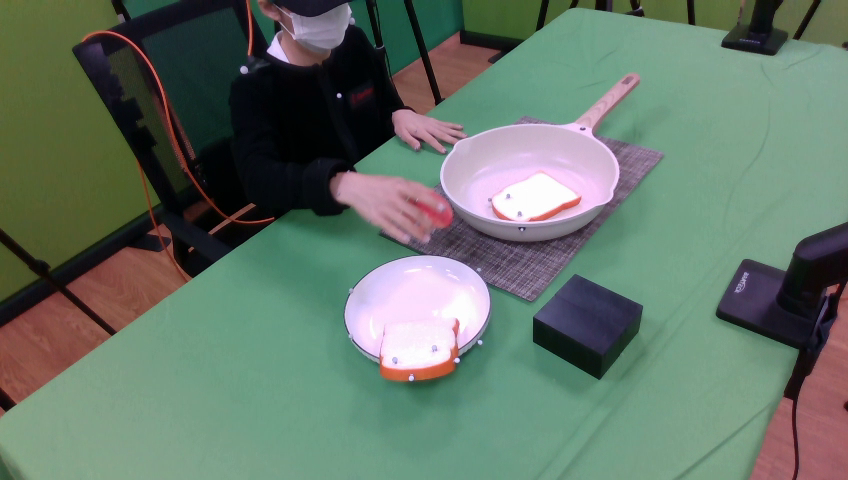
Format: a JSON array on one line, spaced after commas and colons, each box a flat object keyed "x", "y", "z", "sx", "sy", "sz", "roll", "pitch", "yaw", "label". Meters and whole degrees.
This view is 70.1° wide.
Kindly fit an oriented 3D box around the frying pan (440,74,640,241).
[{"x": 0.245, "y": -0.161, "z": 1.059, "sx": 0.304, "sy": 0.103, "sz": 0.489, "roll": 30, "pitch": 61, "yaw": 35, "label": "frying pan"}]

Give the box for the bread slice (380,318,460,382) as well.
[{"x": -0.005, "y": 0.137, "z": 0.770, "sx": 0.105, "sy": 0.019, "sz": 0.131, "roll": -6, "pitch": 19, "yaw": 4, "label": "bread slice"}]

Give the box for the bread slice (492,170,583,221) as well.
[{"x": 0.183, "y": -0.066, "z": 1.015, "sx": 0.135, "sy": 0.018, "sz": 0.106, "roll": -28, "pitch": 43, "yaw": -23, "label": "bread slice"}]

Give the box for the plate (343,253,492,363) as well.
[{"x": -0.008, "y": 0.100, "z": 0.847, "sx": 0.207, "sy": 0.039, "sz": 0.206, "roll": -4, "pitch": 40, "yaw": 4, "label": "plate"}]

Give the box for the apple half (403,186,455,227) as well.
[{"x": 0.006, "y": -0.056, "z": 0.889, "sx": 0.081, "sy": 0.033, "sz": 0.081, "roll": 2, "pitch": 47, "yaw": -2, "label": "apple half"}]
